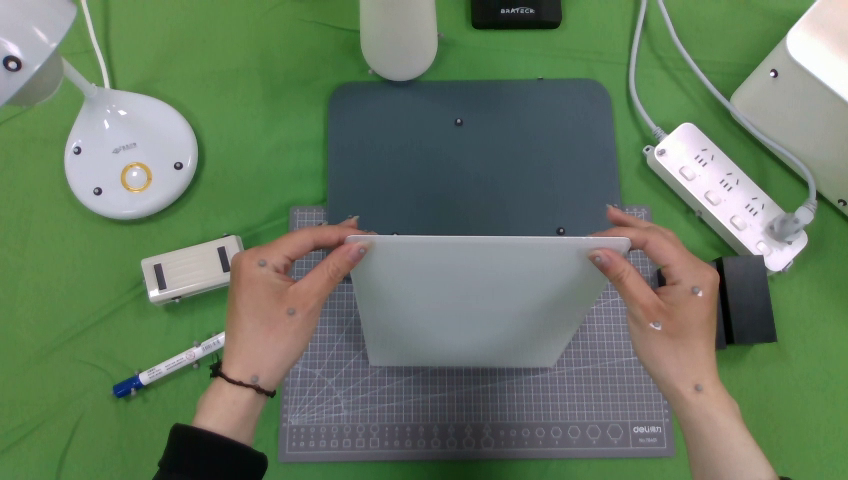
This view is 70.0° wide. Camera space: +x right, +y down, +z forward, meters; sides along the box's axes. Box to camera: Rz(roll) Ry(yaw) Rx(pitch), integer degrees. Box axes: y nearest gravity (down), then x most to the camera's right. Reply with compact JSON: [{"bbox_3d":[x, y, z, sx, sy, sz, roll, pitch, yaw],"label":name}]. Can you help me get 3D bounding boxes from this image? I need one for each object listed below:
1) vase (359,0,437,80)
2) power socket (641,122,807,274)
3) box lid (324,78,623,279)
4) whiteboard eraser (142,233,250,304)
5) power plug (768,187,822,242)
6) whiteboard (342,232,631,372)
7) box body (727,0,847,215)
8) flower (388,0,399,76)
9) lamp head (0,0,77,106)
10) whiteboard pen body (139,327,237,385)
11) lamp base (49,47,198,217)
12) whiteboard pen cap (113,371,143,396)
[{"bbox_3d":[-0.030,-0.272,0.709,0.098,0.201,0.097,1,75,-2],"label":"vase"},{"bbox_3d":[0.372,-0.054,0.752,0.072,0.033,0.226,-40,80,-10],"label":"power socket"},{"bbox_3d":[0.062,-0.082,0.762,0.372,0.015,0.262,-1,76,-2],"label":"box lid"},{"bbox_3d":[-0.266,0.033,0.710,0.113,0.042,0.055,-16,80,-5],"label":"whiteboard eraser"},{"bbox_3d":[0.444,-0.025,0.723,0.072,0.053,0.035,-30,77,-12],"label":"power plug"},{"bbox_3d":[0.047,0.016,0.609,0.217,0.308,0.142,1,61,0],"label":"whiteboard"},{"bbox_3d":[0.588,-0.154,0.715,0.363,0.161,0.254,43,79,8],"label":"box body"},{"bbox_3d":[-0.023,-0.308,0.633,0.044,0.364,0.038,37,62,14],"label":"flower"},{"bbox_3d":[-0.319,-0.160,0.400,0.112,0.124,0.111,-24,44,25],"label":"lamp head"},{"bbox_3d":[-0.281,0.138,0.696,0.141,0.017,0.017,-27,78,-7],"label":"whiteboard pen body"},{"bbox_3d":[-0.366,-0.133,0.675,0.160,0.181,0.178,-31,76,-8],"label":"lamp base"},{"bbox_3d":[-0.334,0.162,0.689,0.033,0.018,0.018,-28,78,-5],"label":"whiteboard pen cap"}]
